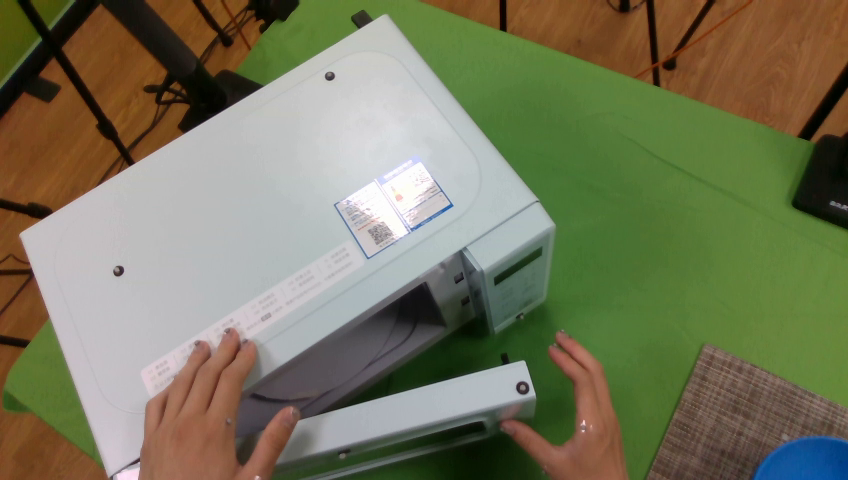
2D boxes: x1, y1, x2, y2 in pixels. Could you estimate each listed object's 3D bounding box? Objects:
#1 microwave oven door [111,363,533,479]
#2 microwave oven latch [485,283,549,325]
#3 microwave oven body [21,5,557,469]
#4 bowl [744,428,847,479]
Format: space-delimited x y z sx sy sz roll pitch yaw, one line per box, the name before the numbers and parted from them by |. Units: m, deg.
microwave oven door | -0.070 0.193 0.597 0.356 0.245 0.039 -15 67 2
microwave oven latch | 0.112 0.070 0.729 0.079 0.030 0.030 -31 68 -3
microwave oven body | -0.129 0.017 0.680 0.442 0.262 0.323 -33 68 -4
bowl | 0.389 0.269 0.604 0.151 0.077 0.150 -3 68 8
